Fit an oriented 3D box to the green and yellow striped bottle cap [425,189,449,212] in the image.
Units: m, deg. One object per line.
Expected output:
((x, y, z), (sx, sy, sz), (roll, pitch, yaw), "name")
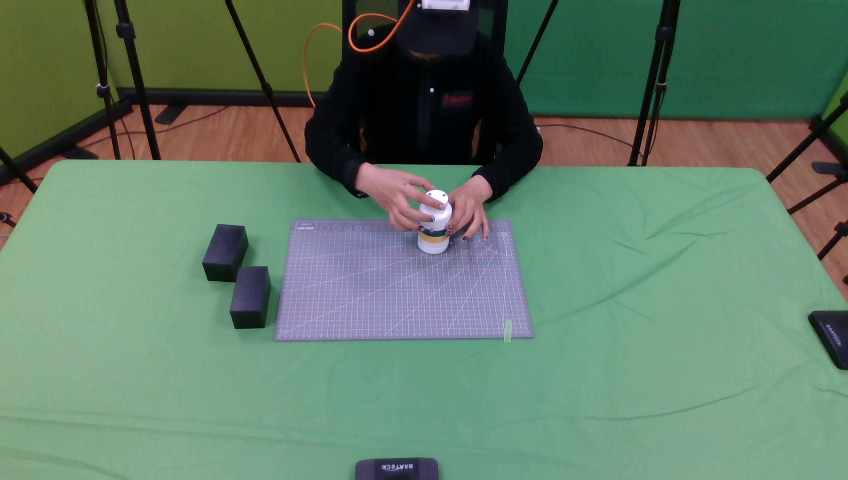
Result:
((0.023, -0.073, 1.120), (0.045, 0.020, 0.045), (2, 45, -2), "green and yellow striped bottle cap")

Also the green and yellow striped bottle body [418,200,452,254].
((0.021, -0.036, 1.160), (0.063, 0.120, 0.063), (2, 46, -2), "green and yellow striped bottle body")
